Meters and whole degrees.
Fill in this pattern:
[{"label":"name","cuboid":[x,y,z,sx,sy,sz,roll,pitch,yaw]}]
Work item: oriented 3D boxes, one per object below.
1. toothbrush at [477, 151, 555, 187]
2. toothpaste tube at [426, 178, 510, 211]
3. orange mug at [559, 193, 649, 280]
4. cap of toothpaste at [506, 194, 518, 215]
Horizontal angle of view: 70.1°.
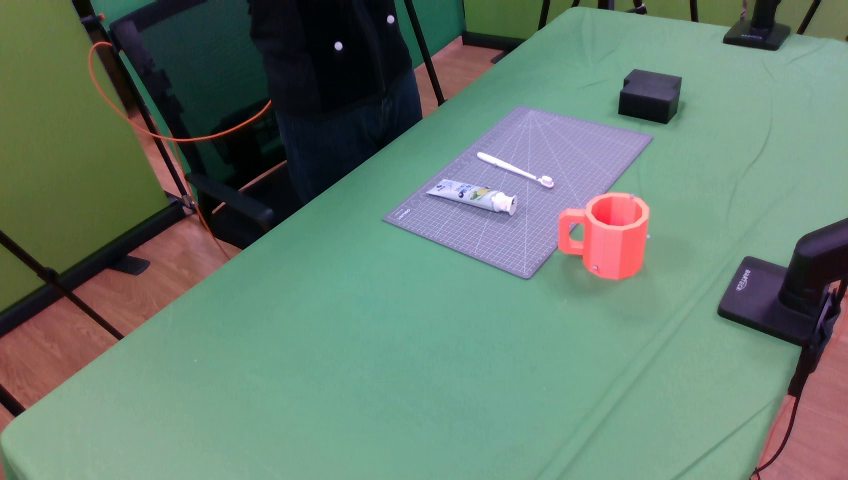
[{"label":"toothbrush","cuboid":[0.164,-0.133,1.107,0.180,0.017,0.014,30,68,38]},{"label":"toothpaste tube","cuboid":[0.084,-0.081,1.054,0.164,0.034,0.055,18,40,34]},{"label":"orange mug","cuboid":[0.261,-0.008,0.884,0.126,0.101,0.083,9,43,14]},{"label":"cap of toothpaste","cuboid":[0.146,-0.060,1.007,0.011,0.037,0.037,14,46,22]}]
